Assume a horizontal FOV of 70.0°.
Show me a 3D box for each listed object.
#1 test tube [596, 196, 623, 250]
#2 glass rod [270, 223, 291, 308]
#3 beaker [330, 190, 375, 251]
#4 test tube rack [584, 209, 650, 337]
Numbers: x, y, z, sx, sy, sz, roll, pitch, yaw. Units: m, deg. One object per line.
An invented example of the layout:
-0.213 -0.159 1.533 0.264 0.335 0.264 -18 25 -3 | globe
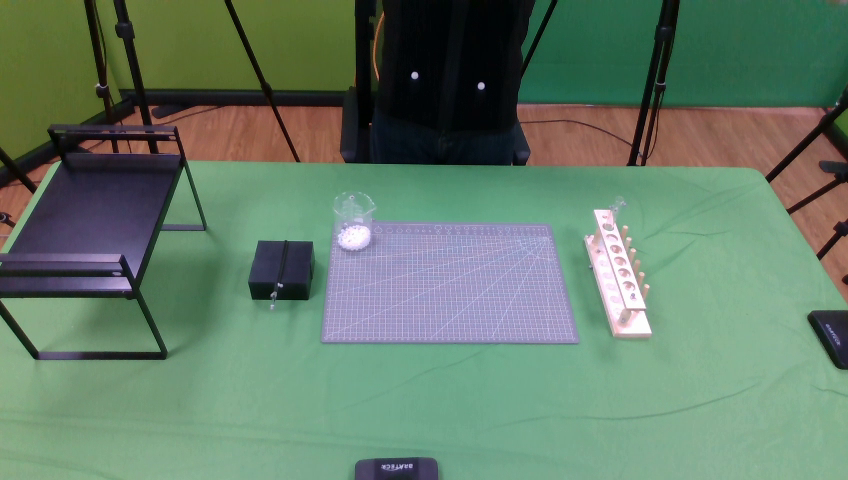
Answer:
0.348 -0.029 1.140 0.017 0.151 0.017 0 53 0 | test tube
-0.255 0.041 1.082 0.008 0.008 0.198 2 46 -2 | glass rod
-0.136 -0.034 1.162 0.084 0.101 0.073 3 46 -3 | beaker
0.365 0.056 1.129 0.067 0.085 0.240 1 46 -4 | test tube rack
